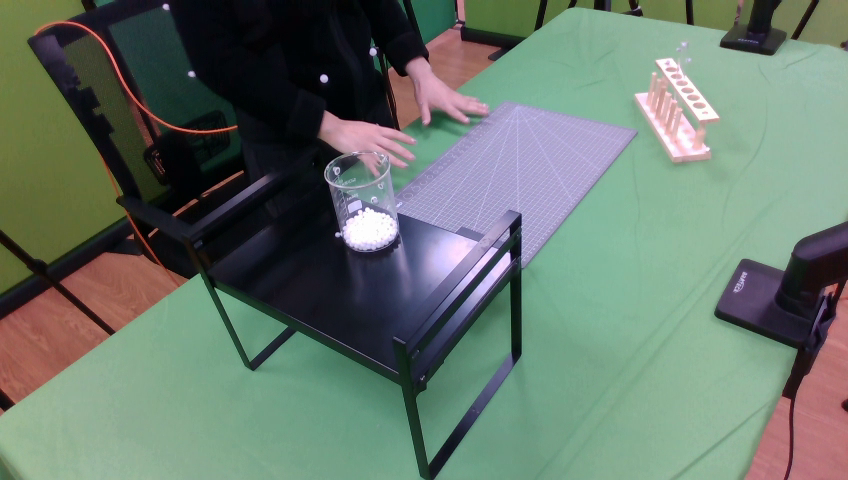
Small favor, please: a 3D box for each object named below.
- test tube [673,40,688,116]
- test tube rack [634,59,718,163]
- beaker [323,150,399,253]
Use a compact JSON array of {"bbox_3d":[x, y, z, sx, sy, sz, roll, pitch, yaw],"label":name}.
[{"bbox_3d":[0.477,-0.299,1.127,0.017,0.151,0.017,-7,40,7],"label":"test tube"},{"bbox_3d":[0.470,-0.250,1.148,0.067,0.085,0.241,-6,40,3],"label":"test tube rack"},{"bbox_3d":[-0.067,-0.043,0.699,0.073,0.101,0.084,28,51,35],"label":"beaker"}]
